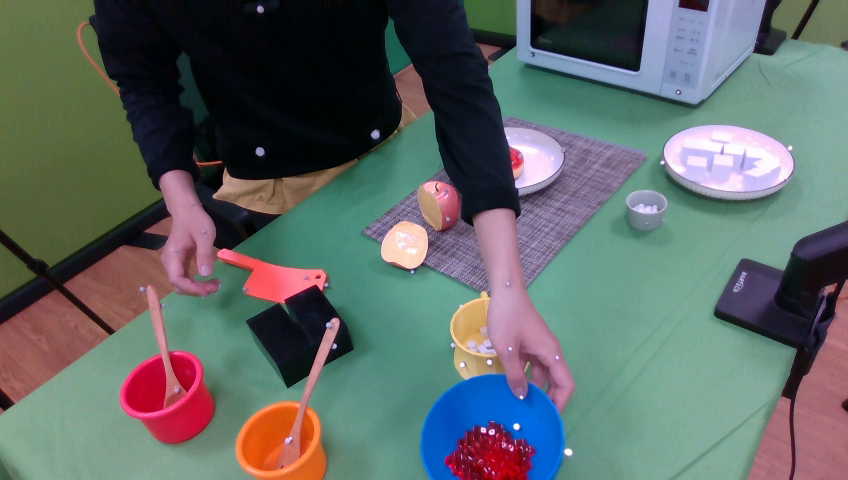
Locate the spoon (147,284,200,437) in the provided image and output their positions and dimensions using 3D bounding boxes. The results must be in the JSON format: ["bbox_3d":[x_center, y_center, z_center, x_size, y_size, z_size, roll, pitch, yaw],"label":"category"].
[{"bbox_3d":[-0.318,0.148,0.754,0.042,0.021,0.193,-15,86,-7],"label":"spoon"}]

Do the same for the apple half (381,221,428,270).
[{"bbox_3d":[-0.025,0.012,0.946,0.081,0.033,0.081,-5,73,16],"label":"apple half"}]

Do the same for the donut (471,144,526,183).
[{"bbox_3d":[0.133,-0.138,1.083,0.099,0.048,0.098,-5,38,5],"label":"donut"}]

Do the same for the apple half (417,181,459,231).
[{"bbox_3d":[0.030,-0.059,0.995,0.053,0.075,0.080,-24,39,-23],"label":"apple half"}]

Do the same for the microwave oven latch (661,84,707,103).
[{"bbox_3d":[0.517,-0.296,1.204,0.078,0.029,0.030,26,51,34],"label":"microwave oven latch"}]

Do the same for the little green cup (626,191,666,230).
[{"bbox_3d":[0.352,-0.046,0.963,0.061,0.039,0.061,-4,40,4],"label":"little green cup"}]

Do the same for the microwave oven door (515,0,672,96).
[{"bbox_3d":[0.343,-0.454,1.259,0.353,0.245,0.039,26,51,33],"label":"microwave oven door"}]

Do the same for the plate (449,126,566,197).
[{"bbox_3d":[0.150,-0.138,1.096,0.209,0.038,0.208,-4,40,4],"label":"plate"}]

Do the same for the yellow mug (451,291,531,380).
[{"bbox_3d":[0.086,0.120,0.786,0.100,0.064,0.130,-7,40,1],"label":"yellow mug"}]

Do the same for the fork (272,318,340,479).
[{"bbox_3d":[-0.131,0.186,0.676,0.028,0.019,0.207,17,90,28],"label":"fork"}]

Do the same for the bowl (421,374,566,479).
[{"bbox_3d":[0.079,0.227,0.645,0.151,0.077,0.150,-10,40,9],"label":"bowl"}]

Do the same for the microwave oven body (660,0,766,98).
[{"bbox_3d":[0.473,-0.513,1.317,0.438,0.261,0.327,26,51,34],"label":"microwave oven body"}]

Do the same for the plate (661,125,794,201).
[{"bbox_3d":[0.514,-0.128,1.035,0.207,0.039,0.206,-4,40,4],"label":"plate"}]

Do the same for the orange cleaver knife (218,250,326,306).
[{"bbox_3d":[-0.247,0.059,0.946,0.210,0.012,0.077,13,49,21],"label":"orange cleaver knife"}]
